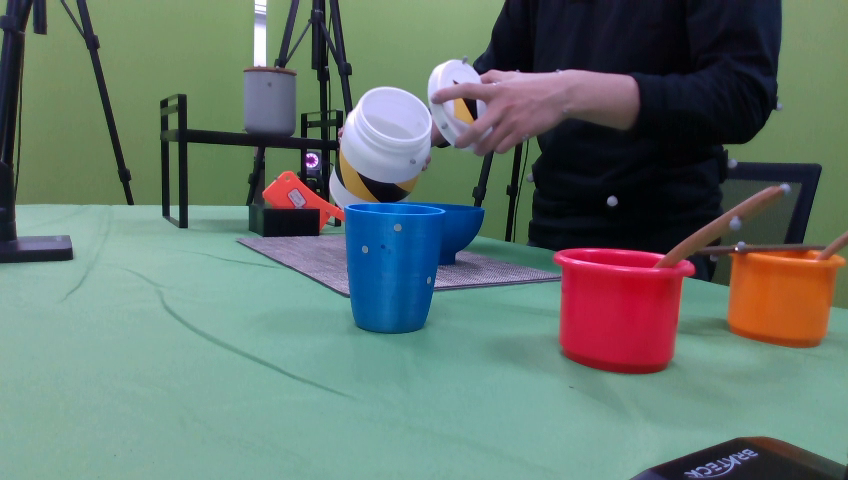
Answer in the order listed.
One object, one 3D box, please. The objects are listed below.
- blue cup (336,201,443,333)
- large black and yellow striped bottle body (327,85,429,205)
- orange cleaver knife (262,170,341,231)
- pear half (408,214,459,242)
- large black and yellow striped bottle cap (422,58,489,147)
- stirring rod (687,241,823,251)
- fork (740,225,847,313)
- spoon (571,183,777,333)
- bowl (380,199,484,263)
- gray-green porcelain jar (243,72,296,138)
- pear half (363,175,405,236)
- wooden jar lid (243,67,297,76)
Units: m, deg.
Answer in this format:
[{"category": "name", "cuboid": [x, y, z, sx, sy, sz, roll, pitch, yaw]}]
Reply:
[{"category": "blue cup", "cuboid": [-0.029, 0.022, 0.507, 0.093, 0.100, 0.092, 3, 9, 0]}, {"category": "large black and yellow striped bottle body", "cuboid": [-0.070, -0.132, 0.924, 0.131, 0.130, 0.183, -1, -35, -21]}, {"category": "orange cleaver knife", "cuboid": [-0.201, -0.057, 1.136, 0.212, 0.077, 0.012, 31, -4, -32]}, {"category": "pear half", "cuboid": [0.010, -0.020, 0.848, 0.070, 0.031, 0.088, 6, 14, 31]}, {"category": "large black and yellow striped bottle cap", "cuboid": [0.044, -0.178, 0.784, 0.018, 0.115, 0.115, -14, -5, 42]}, {"category": "stirring rod", "cuboid": [0.289, 0.005, 0.525, 0.177, 0.006, 0.014, -1, 5, -26]}, {"category": "fork", "cuboid": [0.323, 0.013, 0.485, 0.028, 0.018, 0.207, 8, -37, -6]}, {"category": "spoon", "cuboid": [0.161, 0.020, 0.413, 0.042, 0.021, 0.193, 1, -36, -24]}, {"category": "bowl", "cuboid": [0.007, -0.012, 0.842, 0.151, 0.077, 0.151, 2, 8, 0]}, {"category": "gray-green porcelain jar", "cuboid": [-0.322, -0.279, 1.263, 0.106, 0.126, 0.106, 3, 8, 0]}, {"category": "pear half", "cuboid": [-0.064, -0.061, 1.077, 0.055, 0.110, 0.077, 9, 14, 39]}, {"category": "wooden jar lid", "cuboid": [-0.319, -0.342, 1.254, 0.108, 0.020, 0.108, 3, 8, 0]}]
